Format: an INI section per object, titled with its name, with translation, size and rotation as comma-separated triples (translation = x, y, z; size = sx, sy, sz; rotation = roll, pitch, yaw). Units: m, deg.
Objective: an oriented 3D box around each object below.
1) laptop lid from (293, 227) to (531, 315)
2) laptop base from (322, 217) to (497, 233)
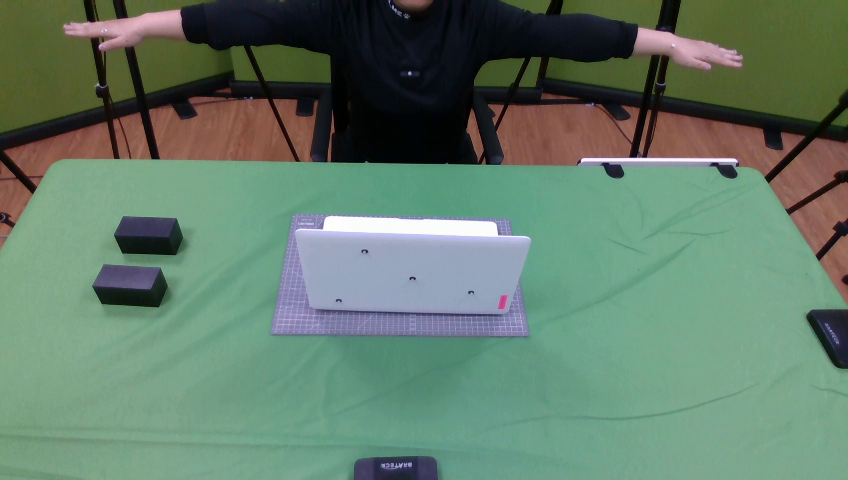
[laptop lid]
translation = -0.021, 0.058, 0.975
size = 0.357, 0.243, 0.013
rotation = 3, 53, -4
[laptop base]
translation = -0.028, 0.045, 1.154
size = 0.354, 0.023, 0.234
rotation = 2, 43, -3
